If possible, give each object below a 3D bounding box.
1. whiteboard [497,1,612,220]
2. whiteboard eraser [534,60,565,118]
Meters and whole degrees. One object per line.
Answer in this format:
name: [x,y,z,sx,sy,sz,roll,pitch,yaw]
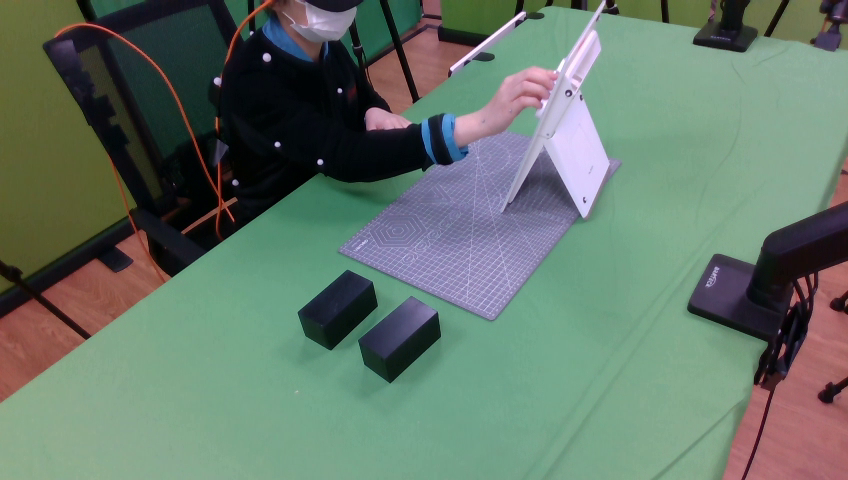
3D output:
whiteboard: [0.260,-0.177,0.963,0.143,0.306,0.217,28,48,9]
whiteboard eraser: [0.199,-0.233,0.940,0.019,0.041,0.101,28,83,10]
